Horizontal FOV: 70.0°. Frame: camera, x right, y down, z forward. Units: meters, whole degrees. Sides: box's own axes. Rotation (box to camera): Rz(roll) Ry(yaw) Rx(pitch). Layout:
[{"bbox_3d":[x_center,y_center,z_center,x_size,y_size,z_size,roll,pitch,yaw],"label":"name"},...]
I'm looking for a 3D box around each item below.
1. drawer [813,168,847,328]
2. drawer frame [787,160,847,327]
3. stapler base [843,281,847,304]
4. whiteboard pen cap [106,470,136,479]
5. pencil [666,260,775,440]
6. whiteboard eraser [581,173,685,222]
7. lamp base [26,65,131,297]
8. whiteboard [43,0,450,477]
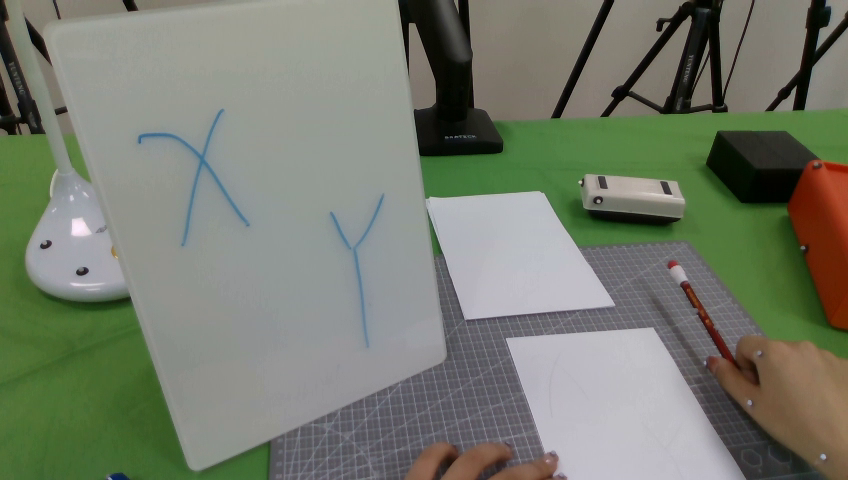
[{"bbox_3d":[0.510,0.016,0.620,0.194,0.074,0.210,11,37,11],"label":"drawer"},{"bbox_3d":[0.510,0.013,0.623,0.201,0.083,0.212,10,37,10],"label":"drawer frame"},{"bbox_3d":[0.485,0.059,0.590,0.130,0.024,0.041,10,52,8],"label":"stapler base"},{"bbox_3d":[-0.198,0.169,0.407,0.033,0.018,0.018,21,40,25],"label":"whiteboard pen cap"},{"bbox_3d":[0.255,0.087,0.530,0.012,0.012,0.192,-2,43,-7],"label":"pencil"},{"bbox_3d":[0.245,-0.049,0.718,0.112,0.042,0.055,6,39,3],"label":"whiteboard eraser"},{"bbox_3d":[-0.316,-0.063,0.570,0.178,0.182,0.160,21,40,25],"label":"lamp base"},{"bbox_3d":[-0.123,-0.022,0.476,0.218,0.307,0.142,-18,23,-25],"label":"whiteboard"}]
